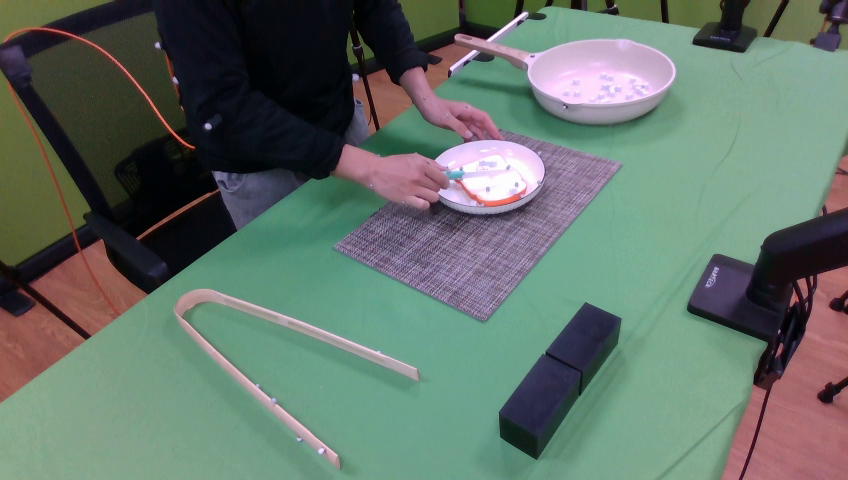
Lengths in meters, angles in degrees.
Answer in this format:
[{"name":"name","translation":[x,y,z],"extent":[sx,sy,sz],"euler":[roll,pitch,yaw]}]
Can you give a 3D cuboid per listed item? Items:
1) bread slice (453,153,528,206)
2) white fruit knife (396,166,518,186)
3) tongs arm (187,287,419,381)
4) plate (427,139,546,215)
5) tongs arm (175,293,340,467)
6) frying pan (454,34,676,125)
[{"name":"bread slice","translation":[0.118,-0.104,1.058],"extent":[0.107,0.018,0.133],"euler":[-24,41,-17]},{"name":"white fruit knife","translation":[0.057,-0.109,1.000],"extent":[0.208,0.027,0.016],"euler":[-8,69,-12]},{"name":"tongs arm","translation":[-0.177,0.126,0.842],"extent":[0.385,0.028,0.028],"euler":[15,48,24]},{"name":"plate","translation":[0.109,-0.107,1.059],"extent":[0.207,0.039,0.206],"euler":[-4,41,4]},{"name":"tongs arm","translation":[-0.225,0.168,0.793],"extent":[0.381,0.026,0.051],"euler":[25,49,33]},{"name":"frying pan","translation":[0.277,-0.370,1.295],"extent":[0.485,0.103,0.307],"euler":[26,49,22]}]
